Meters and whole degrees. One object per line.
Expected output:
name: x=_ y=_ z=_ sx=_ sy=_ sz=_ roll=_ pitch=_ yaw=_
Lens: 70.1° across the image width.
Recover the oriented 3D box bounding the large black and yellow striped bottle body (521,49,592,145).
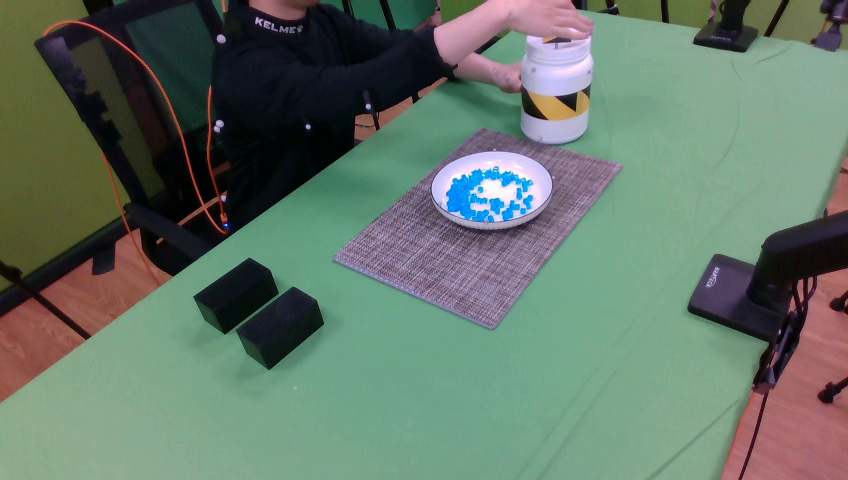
large black and yellow striped bottle body: x=0.249 y=-0.290 z=1.147 sx=0.131 sy=0.185 sz=0.130 roll=-4 pitch=40 yaw=4

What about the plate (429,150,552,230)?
plate: x=0.113 y=-0.082 z=1.032 sx=0.207 sy=0.039 sz=0.206 roll=-4 pitch=41 yaw=4

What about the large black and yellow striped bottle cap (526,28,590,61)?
large black and yellow striped bottle cap: x=0.241 y=-0.354 z=1.091 sx=0.115 sy=0.019 sz=0.114 roll=-3 pitch=39 yaw=3
